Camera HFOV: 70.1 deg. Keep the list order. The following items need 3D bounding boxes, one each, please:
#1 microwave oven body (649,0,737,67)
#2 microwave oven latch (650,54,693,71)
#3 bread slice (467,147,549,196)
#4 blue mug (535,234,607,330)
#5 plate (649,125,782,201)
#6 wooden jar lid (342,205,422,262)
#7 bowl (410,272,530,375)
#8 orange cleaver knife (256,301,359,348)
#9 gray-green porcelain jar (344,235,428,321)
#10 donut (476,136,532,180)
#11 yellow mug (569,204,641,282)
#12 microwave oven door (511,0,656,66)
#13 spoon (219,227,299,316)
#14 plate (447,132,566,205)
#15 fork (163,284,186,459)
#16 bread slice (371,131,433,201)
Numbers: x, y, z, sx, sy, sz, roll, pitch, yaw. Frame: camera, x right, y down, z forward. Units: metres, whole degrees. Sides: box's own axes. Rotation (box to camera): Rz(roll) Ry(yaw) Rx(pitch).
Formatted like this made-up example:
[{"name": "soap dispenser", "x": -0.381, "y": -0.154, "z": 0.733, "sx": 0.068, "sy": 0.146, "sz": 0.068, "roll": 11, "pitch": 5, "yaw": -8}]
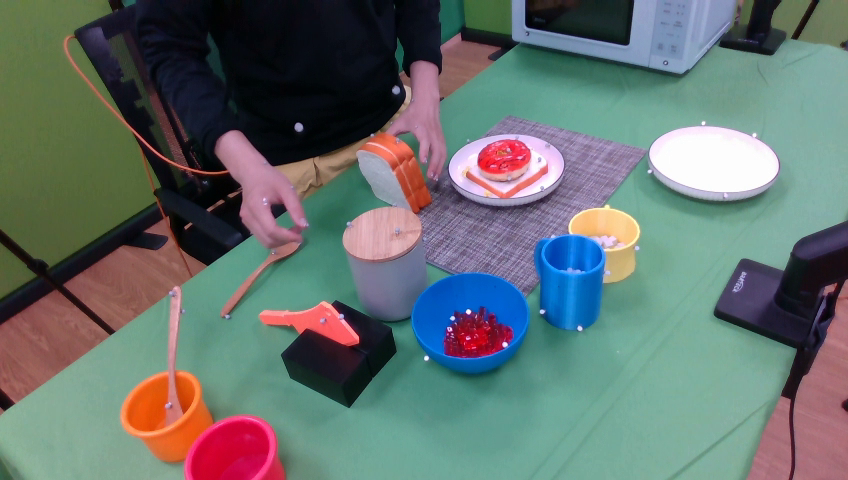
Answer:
[{"name": "microwave oven body", "x": 0.475, "y": -0.602, "z": 1.411, "sx": 0.438, "sy": 0.261, "sz": 0.327, "roll": 23, "pitch": 50, "yaw": 32}, {"name": "microwave oven latch", "x": 0.531, "y": -0.386, "z": 1.301, "sx": 0.078, "sy": 0.029, "sz": 0.030, "roll": 26, "pitch": 51, "yaw": 33}, {"name": "bread slice", "x": 0.156, "y": -0.128, "z": 1.085, "sx": 0.132, "sy": 0.019, "sz": 0.104, "roll": -35, "pitch": 48, "yaw": -23}, {"name": "blue mug", "x": 0.191, "y": 0.048, "z": 0.824, "sx": 0.082, "sy": 0.106, "sz": 0.115, "roll": -26, "pitch": 44, "yaw": -20}, {"name": "plate", "x": 0.493, "y": -0.127, "z": 1.036, "sx": 0.207, "sy": 0.039, "sz": 0.206, "roll": -4, "pitch": 41, "yaw": 4}, {"name": "wooden jar lid", "x": -0.055, "y": -0.005, "z": 0.808, "sx": 0.108, "sy": 0.021, "sz": 0.108, "roll": -6, "pitch": 40, "yaw": 6}, {"name": "bowl", "x": 0.061, "y": 0.120, "z": 0.780, "sx": 0.151, "sy": 0.077, "sz": 0.150, "roll": -4, "pitch": 40, "yaw": 4}, {"name": "orange cleaver knife", "x": -0.160, "y": 0.115, "z": 0.813, "sx": 0.210, "sy": 0.077, "sz": 0.012, "roll": -9, "pitch": 29, "yaw": 48}, {"name": "gray-green porcelain jar", "x": -0.049, "y": 0.042, "z": 0.849, "sx": 0.106, "sy": 0.127, "sz": 0.105, "roll": -4, "pitch": 41, "yaw": 4}, {"name": "donut", "x": 0.139, "y": -0.146, "z": 1.058, "sx": 0.099, "sy": 0.048, "sz": 0.098, "roll": -7, "pitch": 41, "yaw": 6}, {"name": "yellow mug", "x": 0.268, "y": -0.005, "z": 0.904, "sx": 0.099, "sy": 0.064, "sz": 0.130, "roll": 7, "pitch": 41, "yaw": 15}, {"name": "microwave oven door", "x": 0.350, "y": -0.539, "z": 1.348, "sx": 0.353, "sy": 0.245, "sz": 0.039, "roll": 24, "pitch": 50, "yaw": 31}, {"name": "spoon", "x": -0.261, "y": 0.046, "z": 0.954, "sx": 0.041, "sy": 0.021, "sz": 0.194, "roll": 27, "pitch": 48, "yaw": 10}, {"name": "plate", "x": 0.146, "y": -0.124, "z": 1.076, "sx": 0.209, "sy": 0.038, "sz": 0.208, "roll": -4, "pitch": 41, "yaw": 4}, {"name": "fork", "x": -0.302, "y": 0.157, "z": 0.733, "sx": 0.028, "sy": 0.019, "sz": 0.207, "roll": -3, "pitch": 84, "yaw": 15}, {"name": "bread slice", "x": -0.041, "y": -0.128, "z": 1.039, "sx": 0.106, "sy": 0.135, "sz": 0.018, "roll": 28, "pitch": 64, "yaw": 33}]
